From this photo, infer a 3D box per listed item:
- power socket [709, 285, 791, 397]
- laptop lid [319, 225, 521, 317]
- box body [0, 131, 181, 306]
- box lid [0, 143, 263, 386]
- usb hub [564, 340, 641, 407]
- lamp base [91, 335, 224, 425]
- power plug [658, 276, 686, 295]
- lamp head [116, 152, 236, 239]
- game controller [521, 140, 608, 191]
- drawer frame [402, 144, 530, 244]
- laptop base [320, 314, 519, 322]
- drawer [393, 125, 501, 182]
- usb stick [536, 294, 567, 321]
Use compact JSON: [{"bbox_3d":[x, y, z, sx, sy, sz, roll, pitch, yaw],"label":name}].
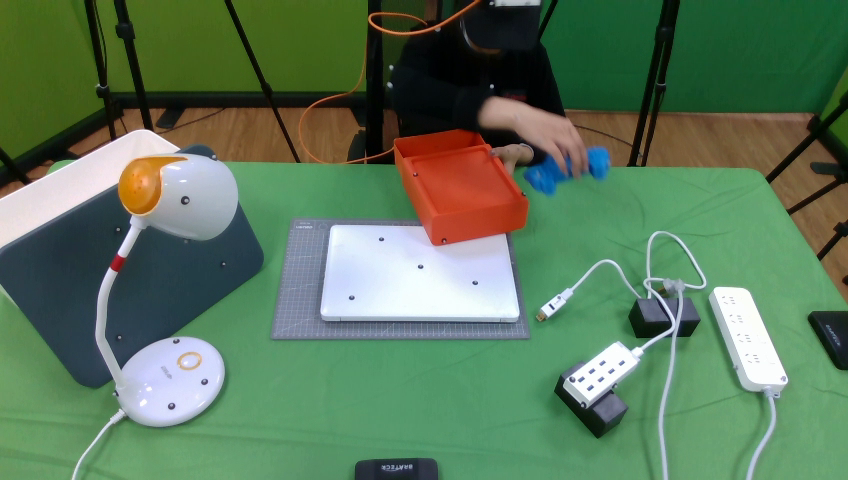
[{"bbox_3d":[0.567,0.168,1.064,0.072,0.033,0.225,2,46,0],"label":"power socket"},{"bbox_3d":[-0.008,0.052,1.131,0.357,0.013,0.240,2,43,-2],"label":"laptop lid"},{"bbox_3d":[-0.550,-0.007,1.068,0.253,0.161,0.363,30,51,23],"label":"box body"},{"bbox_3d":[-0.444,0.032,0.979,0.015,0.264,0.371,13,42,41],"label":"box lid"},{"bbox_3d":[0.278,0.205,0.944,0.125,0.025,0.049,-27,52,-28],"label":"usb hub"},{"bbox_3d":[-0.401,0.171,0.892,0.160,0.181,0.179,30,53,23],"label":"lamp base"},{"bbox_3d":[0.450,0.087,1.113,0.073,0.052,0.035,-13,72,-55],"label":"power plug"},{"bbox_3d":[-0.315,-0.057,0.747,0.112,0.112,0.123,26,10,20],"label":"lamp head"},{"bbox_3d":[0.257,-0.144,1.101,0.155,0.052,0.096,-18,34,5],"label":"game controller"},{"bbox_3d":[0.078,-0.100,1.234,0.202,0.083,0.212,-11,42,-14],"label":"drawer frame"},{"bbox_3d":[-0.009,0.062,1.138,0.354,0.023,0.234,1,43,-3],"label":"laptop base"},{"bbox_3d":[0.054,-0.150,1.294,0.195,0.073,0.210,-11,43,-12],"label":"drawer"},{"bbox_3d":[0.226,0.123,1.083,0.059,0.027,0.021,-38,76,-8],"label":"usb stick"}]
